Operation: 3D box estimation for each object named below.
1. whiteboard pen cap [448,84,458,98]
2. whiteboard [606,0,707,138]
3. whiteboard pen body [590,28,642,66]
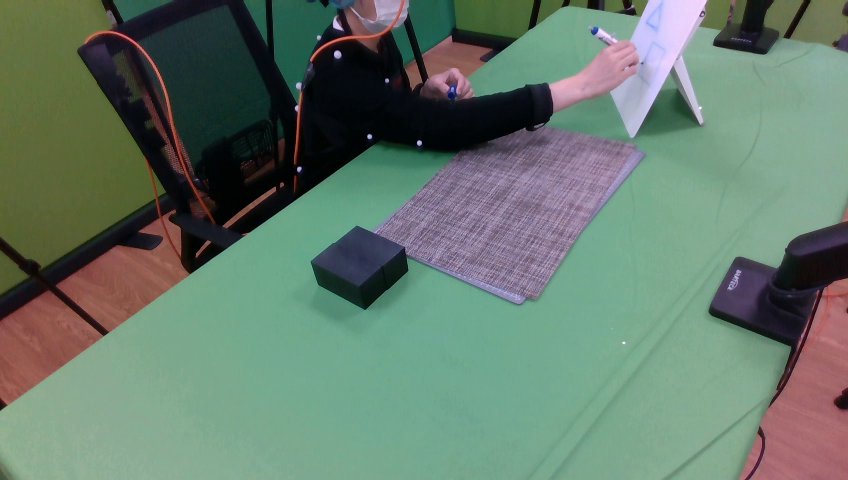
[{"bbox_3d":[0.059,-0.311,1.262,0.018,0.018,0.033,6,47,15],"label":"whiteboard pen cap"},{"bbox_3d":[0.496,-0.358,1.147,0.144,0.305,0.216,11,40,-7],"label":"whiteboard"},{"bbox_3d":[0.363,-0.358,1.130,0.142,0.017,0.017,20,30,-30],"label":"whiteboard pen body"}]
